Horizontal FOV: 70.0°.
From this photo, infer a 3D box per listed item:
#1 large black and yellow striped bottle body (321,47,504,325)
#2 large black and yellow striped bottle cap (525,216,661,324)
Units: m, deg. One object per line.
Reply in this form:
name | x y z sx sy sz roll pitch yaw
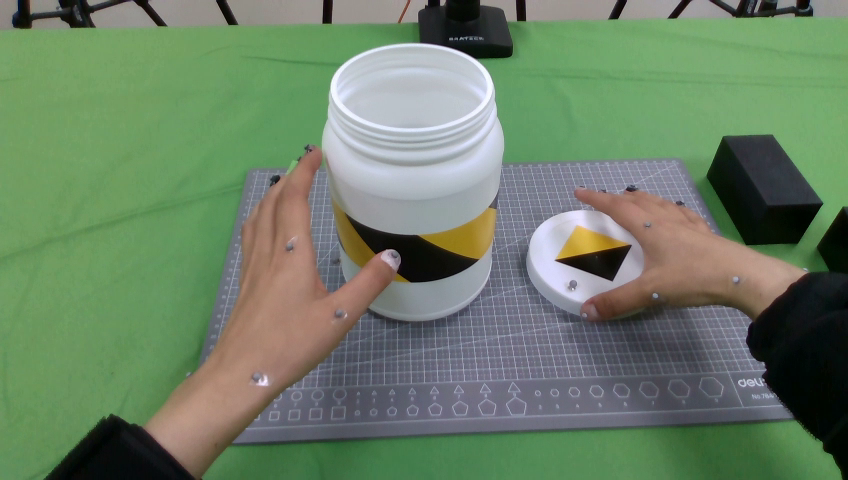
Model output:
large black and yellow striped bottle body | -0.008 -0.037 0.464 0.131 0.185 0.129 0 46 0
large black and yellow striped bottle cap | 0.145 0.023 0.526 0.115 0.019 0.114 1 45 0
